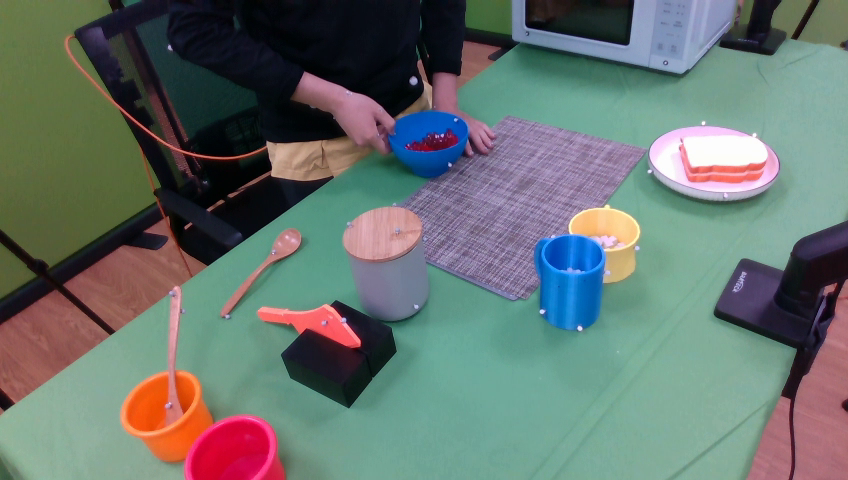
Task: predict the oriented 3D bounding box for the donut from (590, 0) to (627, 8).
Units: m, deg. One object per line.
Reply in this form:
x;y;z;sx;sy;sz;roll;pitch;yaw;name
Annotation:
0.438;-0.587;1.433;0.099;0.048;0.098;-2;53;3;donut

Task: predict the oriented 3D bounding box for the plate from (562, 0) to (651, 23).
0.440;-0.573;1.455;0.209;0.038;0.208;-6;43;6;plate

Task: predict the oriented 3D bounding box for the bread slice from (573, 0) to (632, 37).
0.429;-0.559;1.478;0.105;0.019;0.131;-27;69;-19;bread slice

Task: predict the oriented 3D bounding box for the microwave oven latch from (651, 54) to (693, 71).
0.532;-0.386;1.301;0.078;0.029;0.030;26;51;34;microwave oven latch

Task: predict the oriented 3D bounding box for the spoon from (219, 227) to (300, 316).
-0.261;0.046;0.954;0.041;0.021;0.194;27;48;10;spoon

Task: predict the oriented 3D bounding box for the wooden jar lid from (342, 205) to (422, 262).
-0.055;-0.006;0.808;0.108;0.021;0.108;-6;41;6;wooden jar lid

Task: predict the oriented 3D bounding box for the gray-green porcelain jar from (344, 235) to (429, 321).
-0.049;0.042;0.849;0.106;0.127;0.105;-4;41;4;gray-green porcelain jar

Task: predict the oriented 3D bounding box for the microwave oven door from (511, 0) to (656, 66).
0.351;-0.539;1.349;0.353;0.245;0.039;24;50;31;microwave oven door

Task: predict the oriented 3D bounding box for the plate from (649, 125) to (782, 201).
0.493;-0.128;1.036;0.207;0.039;0.206;-4;41;4;plate

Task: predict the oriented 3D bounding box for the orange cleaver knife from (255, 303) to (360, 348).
-0.161;0.115;0.813;0.210;0.077;0.012;-4;32;46;orange cleaver knife

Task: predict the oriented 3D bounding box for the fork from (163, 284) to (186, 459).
-0.302;0.157;0.733;0.028;0.019;0.207;-4;84;16;fork

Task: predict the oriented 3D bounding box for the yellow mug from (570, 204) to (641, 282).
0.268;-0.005;0.904;0.099;0.064;0.130;7;42;15;yellow mug

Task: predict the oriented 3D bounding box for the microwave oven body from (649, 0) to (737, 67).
0.475;-0.602;1.411;0.438;0.261;0.327;23;50;32;microwave oven body

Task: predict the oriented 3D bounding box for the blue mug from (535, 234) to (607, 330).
0.190;0.048;0.824;0.082;0.106;0.115;-26;44;-21;blue mug

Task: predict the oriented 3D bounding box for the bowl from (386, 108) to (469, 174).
0.008;-0.174;1.120;0.151;0.077;0.150;-2;41;2;bowl
